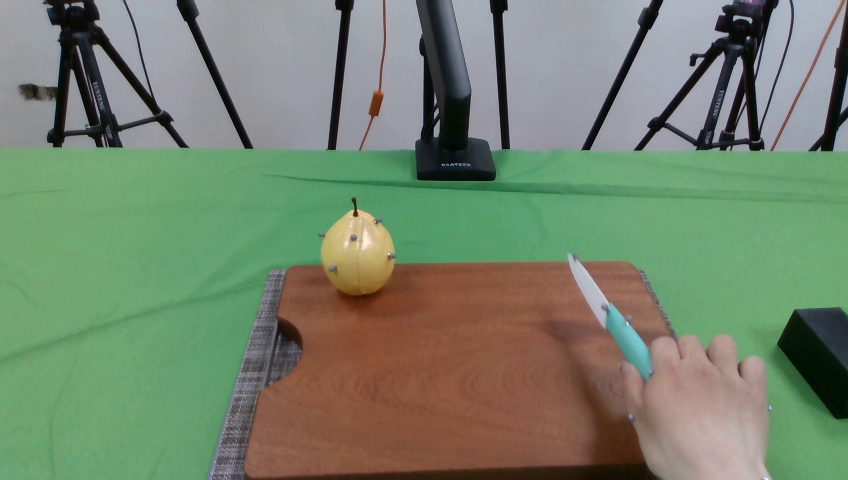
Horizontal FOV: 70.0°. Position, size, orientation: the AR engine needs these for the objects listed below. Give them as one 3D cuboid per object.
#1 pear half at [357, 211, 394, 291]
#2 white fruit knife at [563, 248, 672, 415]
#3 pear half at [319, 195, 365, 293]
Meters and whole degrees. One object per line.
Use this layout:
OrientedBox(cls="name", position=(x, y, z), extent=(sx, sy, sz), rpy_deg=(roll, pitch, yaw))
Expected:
OrientedBox(cls="pear half", position=(-0.047, 0.012, 0.632), extent=(0.031, 0.088, 0.070), rpy_deg=(4, 29, 5))
OrientedBox(cls="white fruit knife", position=(0.169, 0.069, 0.556), extent=(0.016, 0.027, 0.205), rpy_deg=(7, 33, -20))
OrientedBox(cls="pear half", position=(-0.083, -0.001, 0.631), extent=(0.056, 0.110, 0.076), rpy_deg=(5, 32, 5))
